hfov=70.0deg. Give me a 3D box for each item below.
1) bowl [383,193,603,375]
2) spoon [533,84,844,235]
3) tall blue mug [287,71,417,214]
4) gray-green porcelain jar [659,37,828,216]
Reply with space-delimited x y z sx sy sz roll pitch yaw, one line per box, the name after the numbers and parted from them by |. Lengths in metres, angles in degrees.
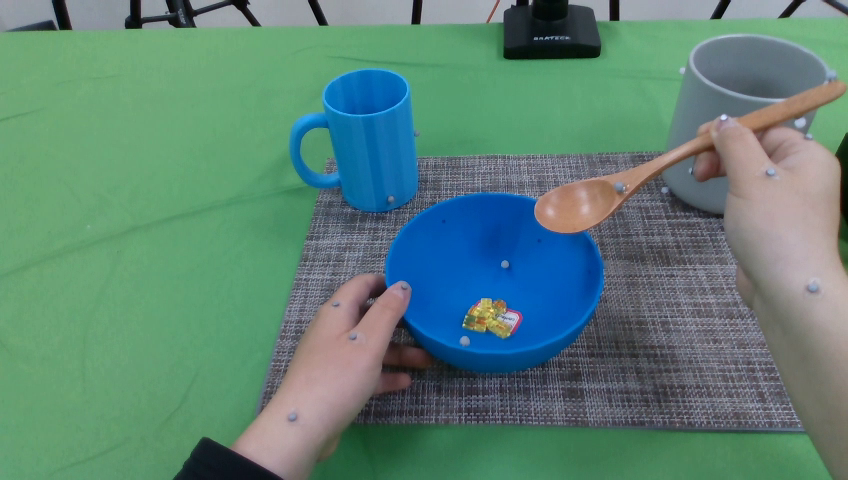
0.049 0.044 0.442 0.151 0.077 0.150 -2 45 2 | bowl
0.161 -0.050 0.381 0.193 0.022 0.041 -26 48 20 | spoon
-0.060 -0.081 0.552 0.107 0.109 0.077 -34 53 -25 | tall blue mug
0.266 -0.092 0.525 0.106 0.128 0.105 -2 45 3 | gray-green porcelain jar
